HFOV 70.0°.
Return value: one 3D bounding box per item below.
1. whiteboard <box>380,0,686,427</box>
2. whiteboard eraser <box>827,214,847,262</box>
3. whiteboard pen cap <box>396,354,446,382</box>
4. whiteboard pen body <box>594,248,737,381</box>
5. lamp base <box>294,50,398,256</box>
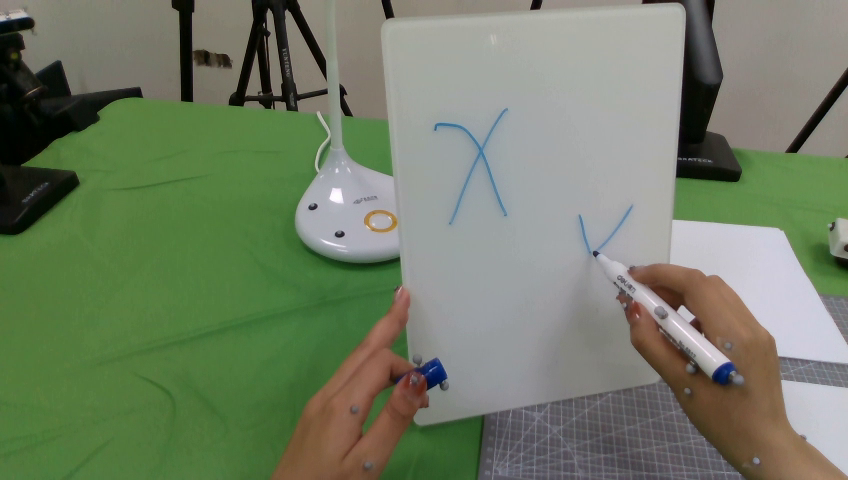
[{"bbox_3d":[0.075,-0.031,0.510,0.218,0.307,0.142,-7,19,-10],"label":"whiteboard"},{"bbox_3d":[0.493,0.009,0.643,0.112,0.042,0.055,17,41,19],"label":"whiteboard eraser"},{"bbox_3d":[-0.001,0.084,0.397,0.033,0.018,0.018,-4,28,38],"label":"whiteboard pen cap"},{"bbox_3d":[0.156,0.043,0.410,0.017,0.017,0.139,-12,36,-17],"label":"whiteboard pen body"},{"bbox_3d":[-0.074,-0.101,0.653,0.161,0.182,0.177,-25,42,-31],"label":"lamp base"}]
